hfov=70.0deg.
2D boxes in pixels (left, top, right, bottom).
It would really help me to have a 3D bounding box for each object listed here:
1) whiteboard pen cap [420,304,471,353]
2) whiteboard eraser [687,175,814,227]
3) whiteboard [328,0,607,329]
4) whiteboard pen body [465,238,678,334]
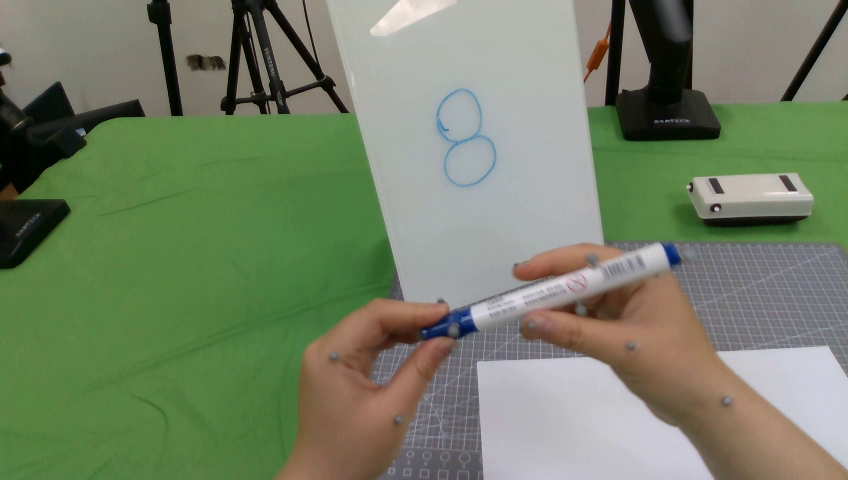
[{"bbox_3d":[0.015,0.050,0.351,0.033,0.018,0.018,-37,37,14],"label":"whiteboard pen cap"},{"bbox_3d":[0.346,-0.042,0.648,0.112,0.042,0.055,-1,41,6],"label":"whiteboard eraser"},{"bbox_3d":[0.036,-0.105,0.608,0.217,0.307,0.142,-17,20,-12],"label":"whiteboard"},{"bbox_3d":[0.068,0.030,0.334,0.140,0.017,0.017,-22,36,16],"label":"whiteboard pen body"}]
